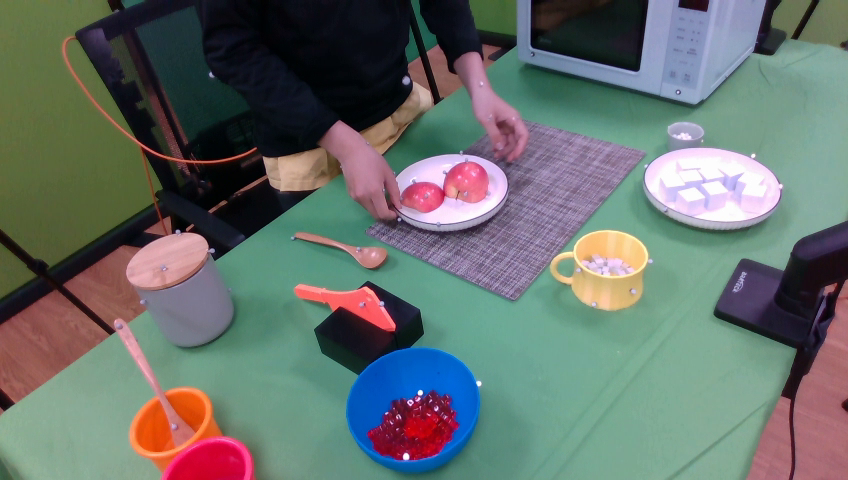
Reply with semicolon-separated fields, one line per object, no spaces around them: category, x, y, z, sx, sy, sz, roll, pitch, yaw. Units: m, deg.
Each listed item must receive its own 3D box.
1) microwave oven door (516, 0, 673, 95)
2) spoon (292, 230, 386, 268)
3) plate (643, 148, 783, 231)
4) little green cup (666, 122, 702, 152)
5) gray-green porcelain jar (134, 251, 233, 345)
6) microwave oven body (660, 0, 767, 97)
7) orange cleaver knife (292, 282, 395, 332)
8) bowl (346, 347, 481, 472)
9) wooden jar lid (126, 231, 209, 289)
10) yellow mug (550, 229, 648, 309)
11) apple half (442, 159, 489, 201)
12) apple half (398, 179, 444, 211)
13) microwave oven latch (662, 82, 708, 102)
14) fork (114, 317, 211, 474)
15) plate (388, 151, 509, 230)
microwave oven door;0.344;-0.458;1.257;0.353;0.245;0.039;26;51;33
spoon;-0.141;0.007;0.982;0.192;0.022;0.041;17;67;25
plate;0.464;-0.080;0.986;0.207;0.039;0.206;-4;41;4
little green cup;0.471;-0.184;1.102;0.061;0.039;0.061;-5;41;5
gray-green porcelain jar;-0.334;0.076;0.849;0.106;0.127;0.105;-4;41;4
microwave oven body;0.473;-0.517;1.314;0.438;0.261;0.327;26;51;34
orange cleaver knife;-0.116;0.091;0.835;0.209;0.077;0.012;2;32;48
bowl;-0.008;0.205;0.691;0.151;0.077;0.150;-4;40;4
wooden jar lid;-0.340;0.030;0.809;0.108;0.021;0.108;-5;39;5
yellow mug;0.245;0.040;0.857;0.130;0.064;0.099;1;42;11
apple half;0.074;-0.110;1.047;0.080;0.053;0.075;21;45;30
apple half;-0.004;-0.088;1.045;0.081;0.033;0.081;-1;42;2
microwave oven latch;0.517;-0.298;1.203;0.078;0.029;0.030;28;53;35
fork;-0.309;0.179;0.708;0.028;0.018;0.207;-30;89;-24
plate;0.043;-0.082;1.043;0.209;0.038;0.208;-4;40;4
